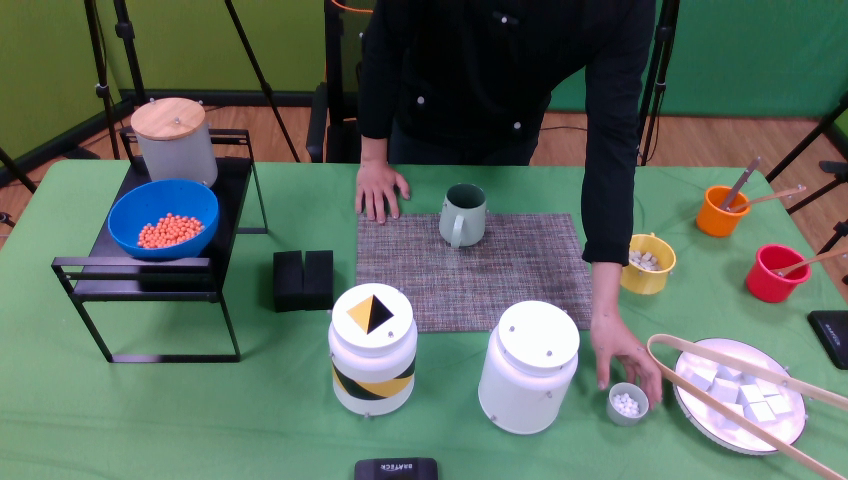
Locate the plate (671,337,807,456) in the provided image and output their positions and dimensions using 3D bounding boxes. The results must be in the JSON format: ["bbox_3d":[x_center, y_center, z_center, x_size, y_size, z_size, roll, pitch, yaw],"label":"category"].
[{"bbox_3d":[0.504,0.254,0.984,0.208,0.039,0.206,2,46,-2],"label":"plate"}]

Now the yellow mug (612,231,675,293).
[{"bbox_3d":[0.423,0.033,1.168,0.100,0.064,0.130,18,46,13],"label":"yellow mug"}]

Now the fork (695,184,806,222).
[{"bbox_3d":[0.658,-0.074,1.229,0.207,0.019,0.028,-23,35,37],"label":"fork"}]

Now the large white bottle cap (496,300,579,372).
[{"bbox_3d":[0.160,0.133,0.853,0.115,0.018,0.114,3,46,-2],"label":"large white bottle cap"}]

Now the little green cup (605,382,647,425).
[{"bbox_3d":[0.319,0.261,0.962,0.061,0.039,0.061,3,45,-3],"label":"little green cup"}]

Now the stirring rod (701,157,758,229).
[{"bbox_3d":[0.634,-0.097,1.257,0.014,0.006,0.176,38,97,29],"label":"stirring rod"}]

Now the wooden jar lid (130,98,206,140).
[{"bbox_3d":[-0.393,-0.183,0.934,0.108,0.021,0.107,3,44,-2],"label":"wooden jar lid"}]

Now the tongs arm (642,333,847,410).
[{"bbox_3d":[0.545,0.228,0.968,0.384,0.026,0.050,22,52,13],"label":"tongs arm"}]

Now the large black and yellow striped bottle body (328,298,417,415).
[{"bbox_3d":[-0.078,0.167,0.920,0.131,0.185,0.130,2,46,-2],"label":"large black and yellow striped bottle body"}]

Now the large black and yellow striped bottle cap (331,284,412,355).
[{"bbox_3d":[-0.073,0.110,0.858,0.115,0.019,0.114,2,46,-2],"label":"large black and yellow striped bottle cap"}]

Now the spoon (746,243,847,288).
[{"bbox_3d":[0.702,0.044,1.126,0.194,0.022,0.041,-29,38,30],"label":"spoon"}]

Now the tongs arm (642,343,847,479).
[{"bbox_3d":[0.504,0.280,0.918,0.386,0.028,0.028,33,59,21],"label":"tongs arm"}]

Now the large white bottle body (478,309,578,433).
[{"bbox_3d":[0.155,0.192,0.913,0.131,0.185,0.130,2,46,-2],"label":"large white bottle body"}]

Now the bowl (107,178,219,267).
[{"bbox_3d":[-0.374,-0.014,0.894,0.151,0.077,0.150,2,46,-2],"label":"bowl"}]

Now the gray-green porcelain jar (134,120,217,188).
[{"bbox_3d":[-0.397,-0.141,0.980,0.106,0.127,0.105,2,47,-2],"label":"gray-green porcelain jar"}]

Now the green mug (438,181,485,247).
[{"bbox_3d":[0.071,-0.039,1.177,0.092,0.105,0.124,12,47,7],"label":"green mug"}]
